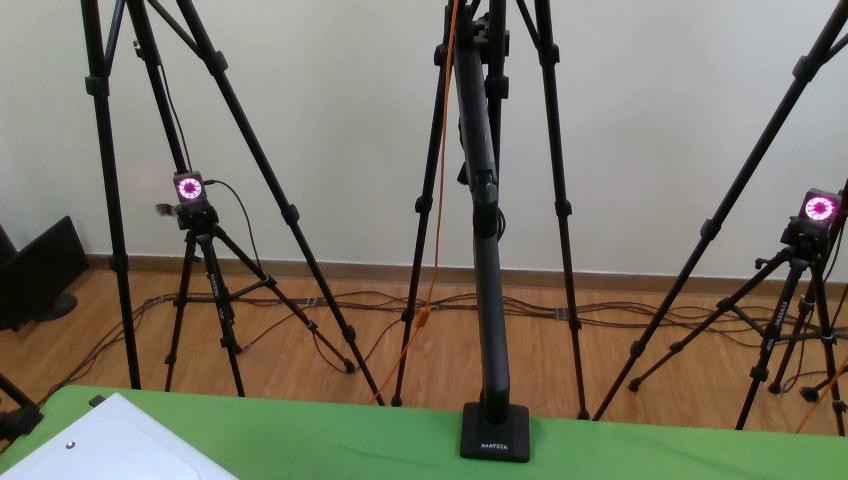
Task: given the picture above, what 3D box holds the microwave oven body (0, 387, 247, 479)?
[{"bbox_3d":[-0.439,0.452,0.719,0.323,0.262,0.441,20,41,28],"label":"microwave oven body"}]
